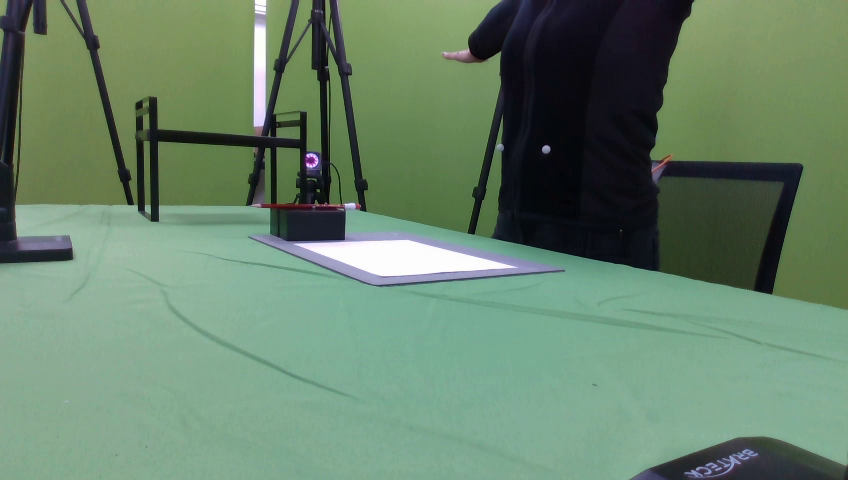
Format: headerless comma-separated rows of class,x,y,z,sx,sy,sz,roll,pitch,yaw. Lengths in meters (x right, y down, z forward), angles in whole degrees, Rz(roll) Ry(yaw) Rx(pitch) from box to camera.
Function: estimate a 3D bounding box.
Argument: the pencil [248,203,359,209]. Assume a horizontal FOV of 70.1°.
pencil,-0.201,-0.059,1.031,0.195,0.012,0.012,-1,8,-31
